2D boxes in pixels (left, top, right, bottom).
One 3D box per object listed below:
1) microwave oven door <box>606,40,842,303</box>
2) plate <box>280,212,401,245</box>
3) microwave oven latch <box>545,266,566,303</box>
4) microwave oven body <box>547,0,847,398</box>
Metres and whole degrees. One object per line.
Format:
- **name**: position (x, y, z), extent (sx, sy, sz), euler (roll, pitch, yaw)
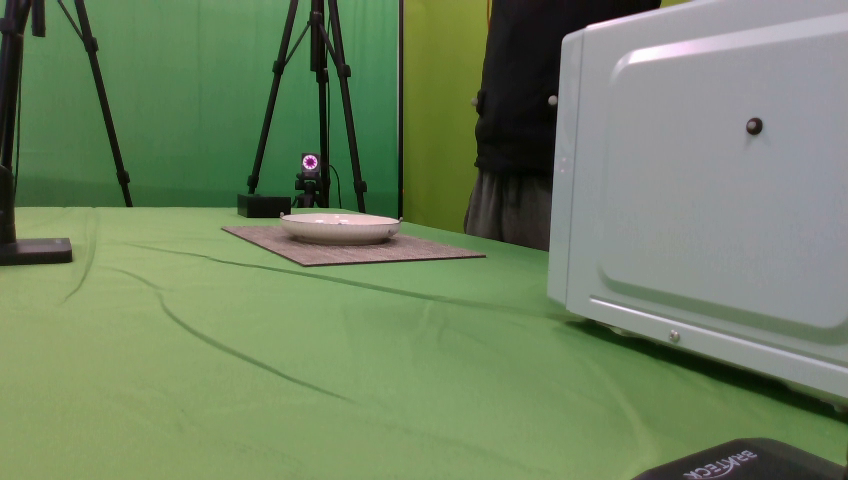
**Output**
- **microwave oven door**: position (0.341, -0.070, 0.654), extent (0.358, 0.243, 0.039), euler (-3, 9, -31)
- **plate**: position (-0.146, -0.021, 1.057), extent (0.209, 0.038, 0.209), euler (2, 8, 0)
- **microwave oven latch**: position (0.147, 0.038, 0.555), extent (0.079, 0.029, 0.030), euler (-2, 7, -28)
- **microwave oven body**: position (0.378, -0.045, 0.509), extent (0.444, 0.260, 0.324), euler (-2, 8, -31)
